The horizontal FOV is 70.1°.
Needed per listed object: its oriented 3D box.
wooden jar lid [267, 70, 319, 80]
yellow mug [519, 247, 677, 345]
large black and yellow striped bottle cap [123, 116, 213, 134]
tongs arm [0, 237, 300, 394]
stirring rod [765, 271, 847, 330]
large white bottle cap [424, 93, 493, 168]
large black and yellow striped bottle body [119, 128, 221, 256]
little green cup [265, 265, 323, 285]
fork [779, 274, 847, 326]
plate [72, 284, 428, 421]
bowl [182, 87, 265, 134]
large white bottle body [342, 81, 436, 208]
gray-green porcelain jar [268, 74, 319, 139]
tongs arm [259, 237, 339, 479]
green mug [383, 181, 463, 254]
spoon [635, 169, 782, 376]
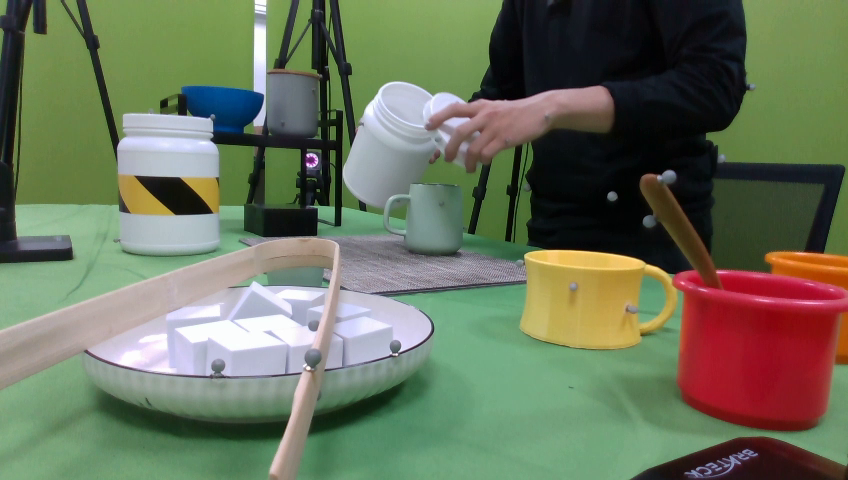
[{"bbox_3d":[-0.275,-0.339,1.271,0.108,0.020,0.108,5,6,0],"label":"wooden jar lid"},{"bbox_3d":[0.148,0.045,0.513,0.131,0.064,0.100,3,7,0],"label":"yellow mug"},{"bbox_3d":[-0.353,-0.159,0.838,0.115,0.019,0.115,2,6,0],"label":"large black and yellow striped bottle cap"},{"bbox_3d":[-0.158,0.039,0.346,0.028,0.028,0.388,-3,8,11],"label":"tongs arm"},{"bbox_3d":[0.352,0.020,0.481,0.176,0.006,0.014,-40,-8,17],"label":"stirring rod"},{"bbox_3d":[0.049,-0.153,0.843,0.115,0.114,0.018,-6,-22,-46],"label":"large white bottle cap"},{"bbox_3d":[-0.355,-0.076,0.850,0.131,0.184,0.130,2,8,0],"label":"large black and yellow striped bottle body"},{"bbox_3d":[-0.134,0.033,0.628,0.061,0.038,0.061,3,7,0],"label":"little green cup"},{"bbox_3d":[0.332,0.019,0.443,0.028,0.018,0.207,-3,-35,-16],"label":"fork"},{"bbox_3d":[-0.102,0.067,0.381,0.208,0.039,0.207,3,7,0],"label":"plate"},{"bbox_3d":[-0.383,-0.244,1.158,0.151,0.077,0.151,2,7,0],"label":"bowl"},{"bbox_3d":[-0.052,-0.158,1.007,0.131,0.184,0.130,14,47,-15],"label":"large white bottle body"},{"bbox_3d":[-0.277,-0.279,1.280,0.106,0.126,0.106,2,8,0],"label":"gray-green porcelain jar"},{"bbox_3d":[-0.074,0.040,0.345,0.051,0.026,0.384,-2,9,-3],"label":"tongs arm"},{"bbox_3d":[-0.001,-0.035,0.921,0.126,0.105,0.092,-1,8,-16],"label":"green mug"},{"bbox_3d":[0.161,0.026,0.346,0.041,0.194,0.021,10,56,53],"label":"spoon"}]
